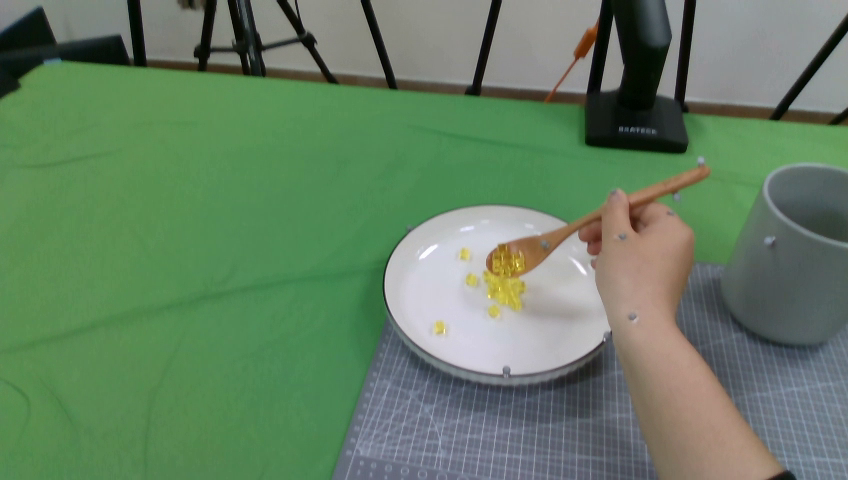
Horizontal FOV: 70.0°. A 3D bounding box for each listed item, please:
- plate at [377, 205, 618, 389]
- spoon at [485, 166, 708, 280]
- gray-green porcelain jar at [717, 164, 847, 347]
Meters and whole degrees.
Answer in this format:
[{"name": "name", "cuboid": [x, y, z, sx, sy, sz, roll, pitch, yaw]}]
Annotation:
[{"name": "plate", "cuboid": [0.063, 0.048, 0.539, 0.208, 0.039, 0.205, 0, 43, 0]}, {"name": "spoon", "cuboid": [0.135, -0.013, 0.496, 0.193, 0.022, 0.041, -29, 41, 28]}, {"name": "gray-green porcelain jar", "cuboid": [0.312, 0.018, 0.503, 0.106, 0.127, 0.105, 0, 43, 1]}]
